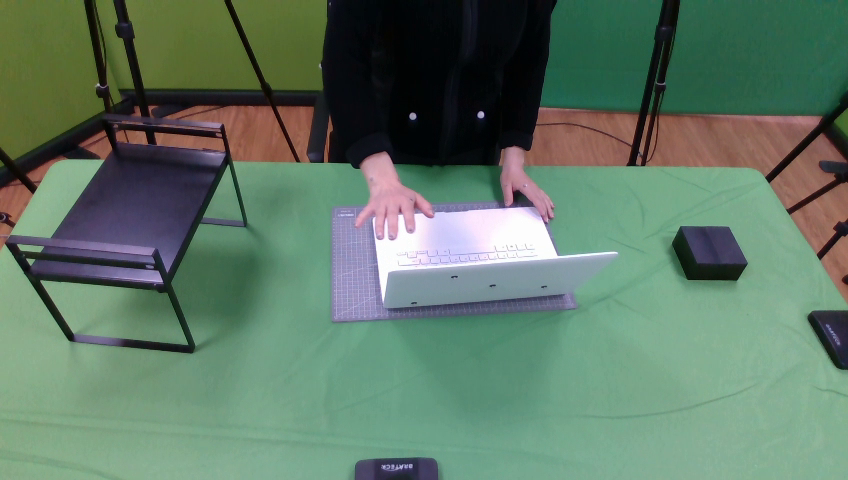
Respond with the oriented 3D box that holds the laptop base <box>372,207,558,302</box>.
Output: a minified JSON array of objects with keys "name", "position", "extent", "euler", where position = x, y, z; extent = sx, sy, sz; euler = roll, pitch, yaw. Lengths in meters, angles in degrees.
[{"name":"laptop base","position":[0.083,0.027,1.178],"extent":[0.355,0.023,0.234],"euler":[-4,43,-8]}]

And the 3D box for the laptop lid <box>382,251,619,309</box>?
[{"name":"laptop lid","position":[0.110,0.070,0.989],"extent":[0.357,0.242,0.013],"euler":[-4,70,-9]}]
